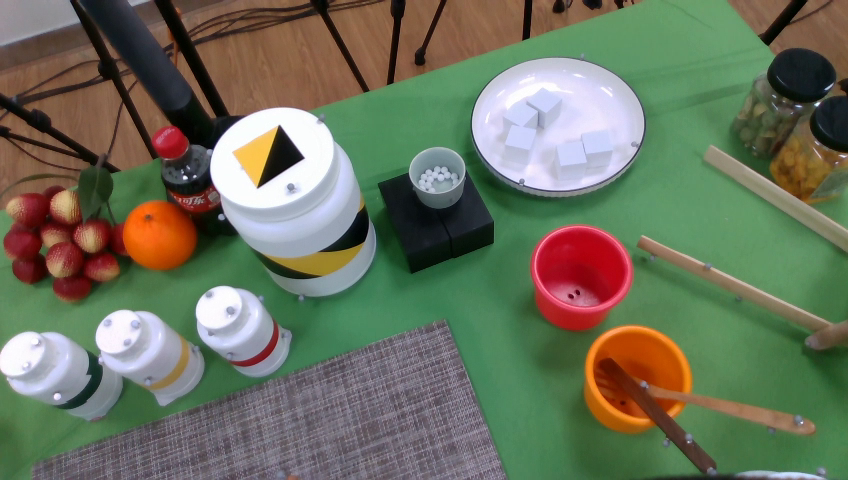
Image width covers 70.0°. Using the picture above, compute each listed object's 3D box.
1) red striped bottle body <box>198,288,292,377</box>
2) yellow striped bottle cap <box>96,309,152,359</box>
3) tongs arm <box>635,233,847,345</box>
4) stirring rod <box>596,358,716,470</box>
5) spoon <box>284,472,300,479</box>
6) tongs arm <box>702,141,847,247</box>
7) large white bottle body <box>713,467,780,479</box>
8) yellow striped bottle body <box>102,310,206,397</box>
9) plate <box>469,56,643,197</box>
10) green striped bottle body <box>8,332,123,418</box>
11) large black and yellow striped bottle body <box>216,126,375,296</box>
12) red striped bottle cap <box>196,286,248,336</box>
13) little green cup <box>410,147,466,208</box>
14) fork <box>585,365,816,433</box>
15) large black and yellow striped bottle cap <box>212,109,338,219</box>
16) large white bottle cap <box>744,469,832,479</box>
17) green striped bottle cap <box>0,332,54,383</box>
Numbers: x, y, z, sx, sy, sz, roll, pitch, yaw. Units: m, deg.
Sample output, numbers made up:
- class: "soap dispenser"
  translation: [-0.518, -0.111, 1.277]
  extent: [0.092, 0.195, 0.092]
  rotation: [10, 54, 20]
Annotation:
- class: "red striped bottle body"
  translation: [-0.181, 0.091, 0.607]
  extent: [0.063, 0.121, 0.062]
  rotation: [-4, 61, 7]
- class: "yellow striped bottle cap"
  translation: [-0.277, 0.087, 0.560]
  extent: [0.044, 0.019, 0.044]
  rotation: [-2, 62, 4]
- class: "tongs arm"
  translation: [0.404, 0.070, 0.609]
  extent: [0.382, 0.027, 0.050]
  rotation: [29, 64, 18]
- class: "stirring rod"
  translation: [0.196, 0.145, 0.531]
  extent: [0.014, 0.006, 0.175]
  rotation: [-16, 18, -6]
- class: "spoon"
  translation: [-0.114, 0.249, 0.470]
  extent: [0.041, 0.195, 0.021]
  rotation: [27, 33, 20]
- class: "tongs arm"
  translation: [0.458, 0.012, 0.638]
  extent: [0.028, 0.028, 0.384]
  rotation: [-36, 65, -22]
- class: "large white bottle body"
  translation: [0.244, 0.242, 0.445]
  extent: [0.130, 0.186, 0.129]
  rotation: [-2, 61, 5]
- class: "yellow striped bottle body"
  translation: [-0.272, 0.111, 0.605]
  extent: [0.063, 0.121, 0.062]
  rotation: [-3, 61, 5]
- class: "plate"
  translation: [0.159, -0.138, 0.744]
  extent: [0.209, 0.038, 0.207]
  rotation: [-2, 62, 4]
- class: "green striped bottle body"
  translation: [-0.359, 0.133, 0.602]
  extent: [0.063, 0.120, 0.062]
  rotation: [-2, 61, 4]
- class: "large black and yellow striped bottle body"
  translation: [-0.129, -0.033, 0.633]
  extent: [0.131, 0.185, 0.129]
  rotation: [-2, 61, 5]
- class: "red striped bottle cap"
  translation: [-0.187, 0.065, 0.561]
  extent: [0.044, 0.018, 0.044]
  rotation: [-1, 59, 1]
- class: "little green cup"
  translation: [0.016, -0.066, 0.661]
  extent: [0.061, 0.039, 0.061]
  rotation: [-2, 58, 3]
- class: "fork"
  translation: [0.225, 0.136, 0.525]
  extent: [0.206, 0.019, 0.028]
  rotation: [-2, 49, 57]
- class: "large black and yellow striped bottle cap"
  translation: [-0.138, -0.072, 0.558]
  extent: [0.115, 0.019, 0.114]
  rotation: [-3, 61, 5]
- class: "large white bottle cap"
  translation: [0.235, 0.201, 0.372]
  extent: [0.115, 0.018, 0.114]
  rotation: [-2, 60, 4]
- class: "green striped bottle cap"
  translation: [-0.365, 0.108, 0.556]
  extent: [0.044, 0.020, 0.044]
  rotation: [-1, 62, 2]
